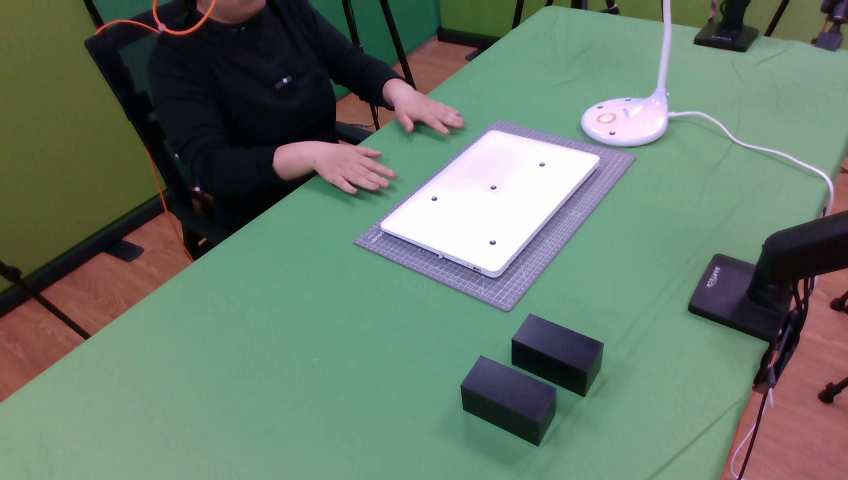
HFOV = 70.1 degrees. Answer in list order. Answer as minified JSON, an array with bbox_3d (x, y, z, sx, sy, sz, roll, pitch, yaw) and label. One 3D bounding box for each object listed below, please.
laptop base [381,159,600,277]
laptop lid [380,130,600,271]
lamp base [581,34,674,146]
[{"bbox_3d":[0.122,-0.077,1.043,0.233,0.023,0.355,20,47,33],"label":"laptop base"},{"bbox_3d":[0.119,-0.087,1.036,0.239,0.013,0.358,23,48,33],"label":"laptop lid"},{"bbox_3d":[0.392,-0.291,1.129,0.180,0.181,0.159,-11,41,-8],"label":"lamp base"}]
